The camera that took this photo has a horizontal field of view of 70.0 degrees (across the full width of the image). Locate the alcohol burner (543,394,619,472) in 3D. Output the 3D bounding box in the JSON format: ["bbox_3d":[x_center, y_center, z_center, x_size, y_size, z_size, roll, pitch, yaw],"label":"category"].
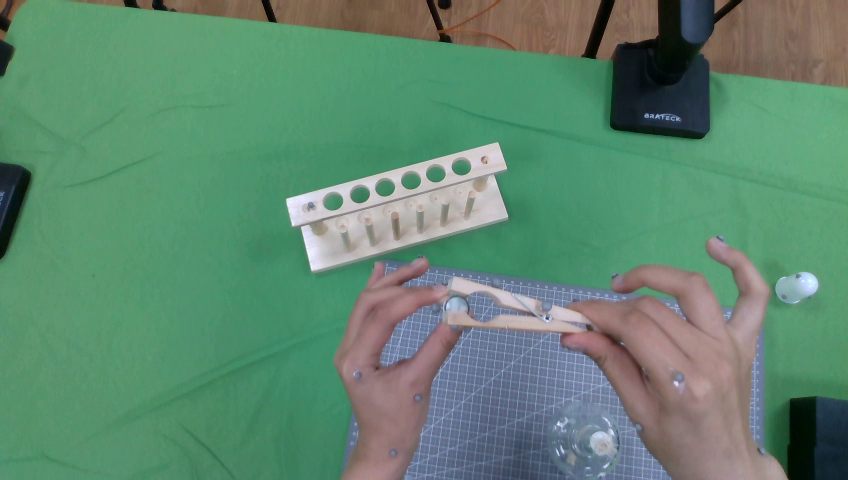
[{"bbox_3d":[0.162,0.195,0.610,0.078,0.119,0.077,0,75,0],"label":"alcohol burner"}]

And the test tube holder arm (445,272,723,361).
[{"bbox_3d":[0.099,0.047,0.362,0.179,0.015,0.013,15,82,-10],"label":"test tube holder arm"}]

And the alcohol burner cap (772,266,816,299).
[{"bbox_3d":[0.425,0.047,0.691,0.034,0.048,0.033,0,73,1],"label":"alcohol burner cap"}]

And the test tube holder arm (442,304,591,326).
[{"bbox_3d":[0.054,0.044,0.354,0.088,0.015,0.010,4,83,-11],"label":"test tube holder arm"}]

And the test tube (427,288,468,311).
[{"bbox_3d":[0.014,0.042,0.428,0.017,0.150,0.017,0,86,-3],"label":"test tube"}]

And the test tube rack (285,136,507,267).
[{"bbox_3d":[-0.026,-0.042,0.694,0.242,0.085,0.066,-16,74,-4],"label":"test tube rack"}]
